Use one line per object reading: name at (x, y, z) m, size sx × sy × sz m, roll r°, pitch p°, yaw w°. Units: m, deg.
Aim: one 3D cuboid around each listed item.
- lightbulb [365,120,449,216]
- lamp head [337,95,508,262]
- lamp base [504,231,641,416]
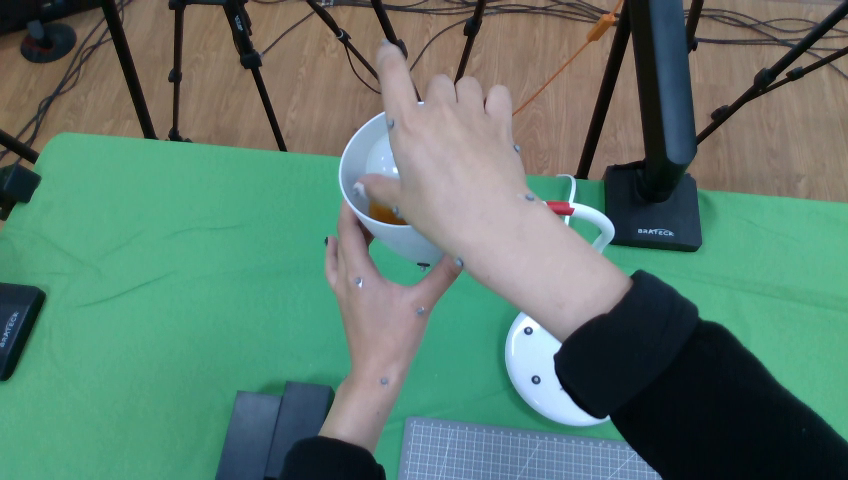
lightbulb at (-0.006, -0.045, 0.453) m, size 0.059 × 0.108 × 0.059 m, roll -6°, pitch 65°, yaw 12°
lamp head at (0.006, -0.036, 0.480) m, size 0.112 × 0.124 × 0.111 m, roll -8°, pitch 61°, yaw 15°
lamp base at (0.172, 0.082, 0.659) m, size 0.161 × 0.182 × 0.177 m, roll -7°, pitch 60°, yaw -2°
